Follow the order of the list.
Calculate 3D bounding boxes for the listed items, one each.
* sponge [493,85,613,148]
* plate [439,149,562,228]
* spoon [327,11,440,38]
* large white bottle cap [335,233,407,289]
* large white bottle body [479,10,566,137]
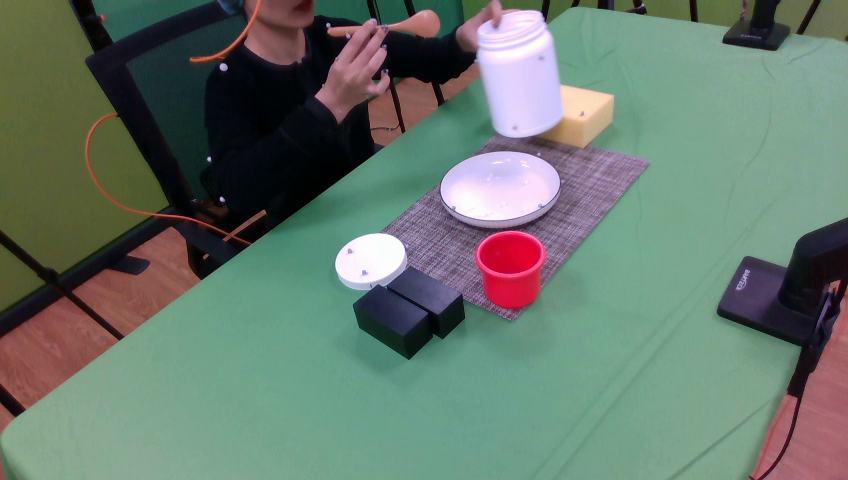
[{"bbox_3d":[0.254,-0.259,1.207,0.205,0.061,0.118,22,47,31],"label":"sponge"},{"bbox_3d":[0.131,-0.085,1.040,0.209,0.038,0.208,-5,41,5],"label":"plate"},{"bbox_3d":[-0.058,-0.328,0.938,0.195,0.042,0.021,-15,18,-22],"label":"spoon"},{"bbox_3d":[-0.085,0.032,0.961,0.115,0.018,0.114,-6,41,6],"label":"large white bottle cap"},{"bbox_3d":[0.170,-0.289,1.054,0.130,0.185,0.130,-13,34,9],"label":"large white bottle body"}]
